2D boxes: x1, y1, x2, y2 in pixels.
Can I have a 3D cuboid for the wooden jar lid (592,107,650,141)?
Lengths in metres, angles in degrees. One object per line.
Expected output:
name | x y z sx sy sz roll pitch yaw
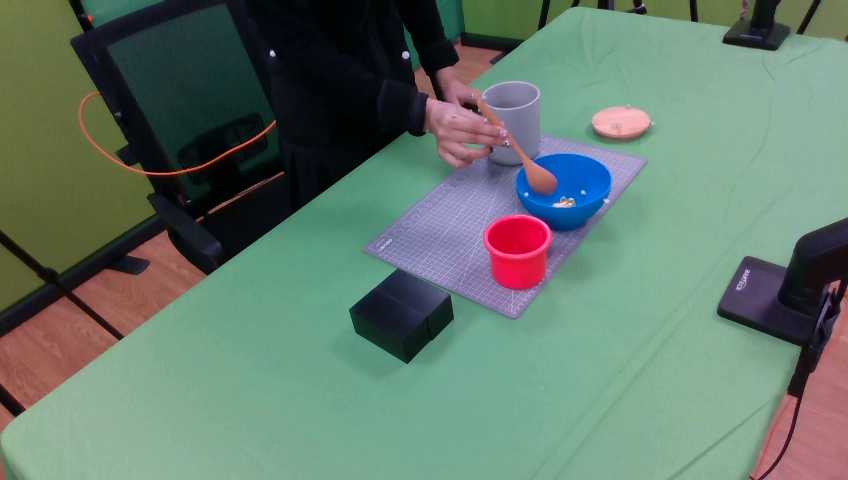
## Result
wooden jar lid | 0.382 -0.225 1.178 0.108 0.021 0.108 -5 40 4

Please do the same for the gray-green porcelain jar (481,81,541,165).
gray-green porcelain jar | 0.162 -0.211 1.116 0.106 0.127 0.105 -5 40 5

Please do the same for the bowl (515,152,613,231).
bowl | 0.224 -0.068 0.972 0.151 0.077 0.150 -5 40 5

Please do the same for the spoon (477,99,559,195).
spoon | 0.141 -0.138 0.917 0.041 0.194 0.021 -33 20 27
